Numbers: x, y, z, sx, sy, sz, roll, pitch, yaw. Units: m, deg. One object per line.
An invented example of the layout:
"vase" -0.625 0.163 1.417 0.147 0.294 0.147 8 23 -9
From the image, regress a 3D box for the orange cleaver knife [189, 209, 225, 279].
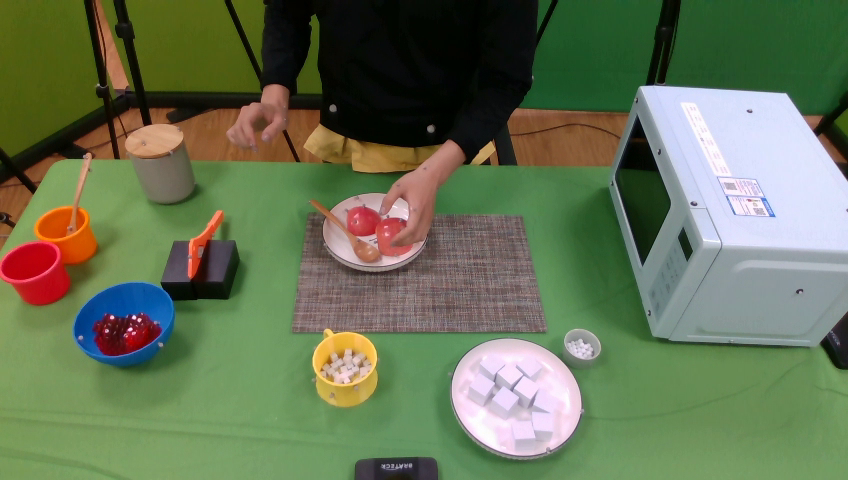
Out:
"orange cleaver knife" -0.401 0.002 1.122 0.012 0.077 0.210 4 23 -4

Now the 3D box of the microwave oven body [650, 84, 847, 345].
"microwave oven body" 0.569 -0.054 1.116 0.326 0.261 0.439 2 46 -1

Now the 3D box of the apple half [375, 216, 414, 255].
"apple half" -0.056 -0.017 1.168 0.075 0.053 0.080 0 47 -7

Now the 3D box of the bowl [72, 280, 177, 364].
"bowl" -0.473 0.147 0.982 0.151 0.077 0.150 2 46 -2

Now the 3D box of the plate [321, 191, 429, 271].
"plate" -0.094 -0.015 1.185 0.209 0.038 0.208 2 46 -2

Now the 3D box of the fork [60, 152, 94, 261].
"fork" -0.638 -0.063 1.119 0.028 0.018 0.207 12 90 10

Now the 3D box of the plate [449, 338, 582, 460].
"plate" 0.141 0.251 0.956 0.208 0.039 0.206 2 46 -2

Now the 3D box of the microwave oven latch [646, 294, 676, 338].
"microwave oven latch" 0.413 0.133 1.061 0.030 0.029 0.078 4 46 1

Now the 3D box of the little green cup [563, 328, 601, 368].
"little green cup" 0.265 0.184 1.025 0.061 0.039 0.061 1 46 -1

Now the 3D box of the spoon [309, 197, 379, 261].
"spoon" -0.158 -0.025 1.172 0.041 0.022 0.193 -39 72 -21

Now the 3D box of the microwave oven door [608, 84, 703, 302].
"microwave oven door" 0.424 -0.096 1.138 0.039 0.245 0.353 2 47 -1

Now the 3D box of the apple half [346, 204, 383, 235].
"apple half" -0.119 -0.049 1.206 0.081 0.033 0.081 2 50 -3

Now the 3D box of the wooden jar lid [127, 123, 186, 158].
"wooden jar lid" -0.519 -0.190 1.179 0.108 0.021 0.107 2 44 -2

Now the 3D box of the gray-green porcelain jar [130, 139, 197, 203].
"gray-green porcelain jar" -0.522 -0.148 1.225 0.106 0.127 0.105 2 47 -2

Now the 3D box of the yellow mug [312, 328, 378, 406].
"yellow mug" -0.132 0.193 0.971 0.100 0.064 0.130 -22 51 -22
